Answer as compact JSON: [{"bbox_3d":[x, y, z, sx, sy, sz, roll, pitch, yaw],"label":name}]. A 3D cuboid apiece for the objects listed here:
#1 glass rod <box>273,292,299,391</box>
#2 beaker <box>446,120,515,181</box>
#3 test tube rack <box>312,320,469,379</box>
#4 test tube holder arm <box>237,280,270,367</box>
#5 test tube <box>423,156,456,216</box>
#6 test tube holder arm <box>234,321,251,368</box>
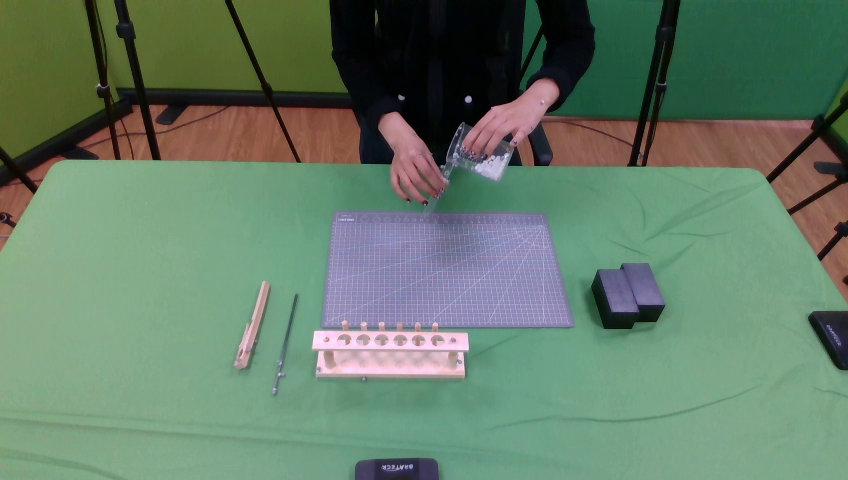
[{"bbox_3d":[-0.233,0.167,1.030,0.008,0.008,0.198,3,46,0],"label":"glass rod"},{"bbox_3d":[0.097,-0.149,1.038,0.100,0.084,0.074,25,53,7],"label":"beaker"},{"bbox_3d":[-0.054,0.173,0.984,0.242,0.085,0.066,1,46,-3],"label":"test tube rack"},{"bbox_3d":[-0.290,0.139,1.042,0.013,0.015,0.177,-17,42,22],"label":"test tube holder arm"},{"bbox_3d":[0.026,-0.097,1.125,0.017,0.151,0.017,13,46,-13],"label":"test tube"},{"bbox_3d":[-0.299,0.173,1.013,0.010,0.015,0.087,-16,42,22],"label":"test tube holder arm"}]
